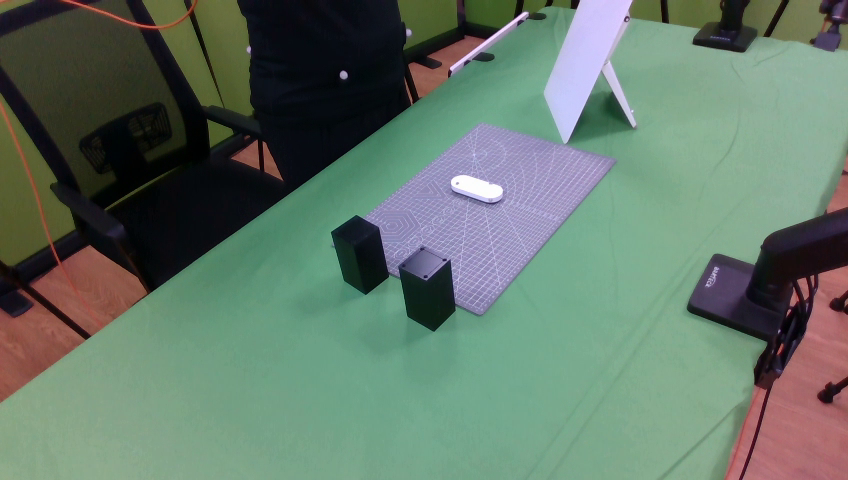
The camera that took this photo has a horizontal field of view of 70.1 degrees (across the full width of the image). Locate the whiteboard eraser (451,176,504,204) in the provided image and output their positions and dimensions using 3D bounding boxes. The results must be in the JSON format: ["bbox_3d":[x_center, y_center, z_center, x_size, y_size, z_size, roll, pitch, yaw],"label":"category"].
[{"bbox_3d":[0.093,-0.088,1.059,0.100,0.019,0.041,20,47,30],"label":"whiteboard eraser"}]

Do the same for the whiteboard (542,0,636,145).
[{"bbox_3d":[0.365,-0.351,1.160,0.144,0.305,0.216,9,39,-10],"label":"whiteboard"}]
